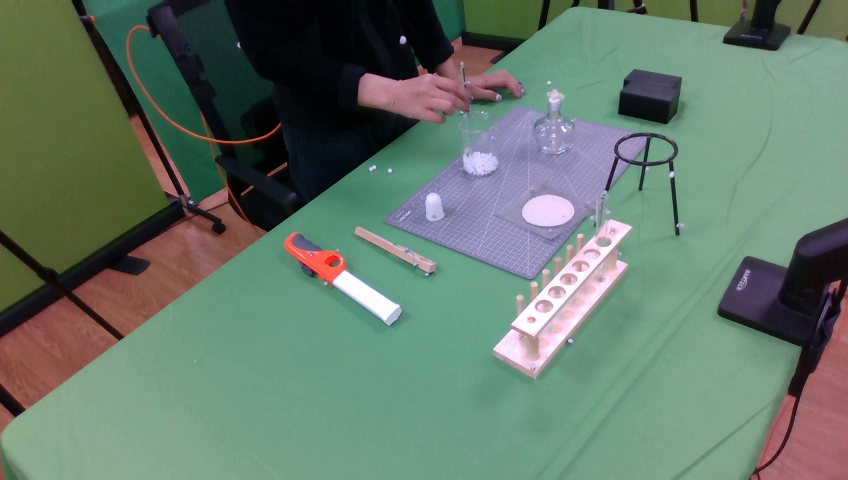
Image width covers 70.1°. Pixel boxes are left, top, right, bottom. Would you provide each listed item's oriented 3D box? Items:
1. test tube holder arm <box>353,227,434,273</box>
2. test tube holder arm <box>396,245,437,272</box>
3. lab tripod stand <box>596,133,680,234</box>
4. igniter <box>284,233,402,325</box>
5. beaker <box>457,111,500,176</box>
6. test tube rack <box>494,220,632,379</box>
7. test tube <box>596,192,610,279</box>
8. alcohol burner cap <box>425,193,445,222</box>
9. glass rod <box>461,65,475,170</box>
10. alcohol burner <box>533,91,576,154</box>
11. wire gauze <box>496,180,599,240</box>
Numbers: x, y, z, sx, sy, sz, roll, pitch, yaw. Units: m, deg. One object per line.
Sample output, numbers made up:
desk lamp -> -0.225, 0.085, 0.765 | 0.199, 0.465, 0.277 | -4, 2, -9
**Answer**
test tube holder arm -> -0.053, 0.014, 0.978 | 0.177, 0.015, 0.013 | 25, 16, 34
test tube holder arm -> -0.016, 0.029, 0.957 | 0.087, 0.015, 0.010 | 25, 16, 35
lab tripod stand -> 0.338, -0.091, 0.940 | 0.148, 0.132, 0.147 | -7, 39, 6
igniter -> -0.136, 0.054, 0.942 | 0.274, 0.025, 0.057 | 30, 63, 37
beaker -> 0.104, -0.176, 1.108 | 0.073, 0.101, 0.084 | 16, 45, 27
test tube rack -> 0.191, 0.068, 0.818 | 0.066, 0.085, 0.243 | 25, 51, 35
test tube -> 0.240, -0.002, 0.814 | 0.017, 0.151, 0.017 | -7, 42, 7
alcohol burner cap -> 0.017, -0.058, 1.030 | 0.034, 0.048, 0.033 | -6, 40, 5
glass rod -> 0.079, -0.212, 1.070 | 0.008, 0.200, 0.008 | -6, 35, 5
alcohol burner -> 0.243, -0.222, 1.124 | 0.078, 0.119, 0.077 | -4, 39, 4
wire gauze -> 0.206, -0.050, 1.012 | 0.125, 0.011, 0.120 | -34, 45, -26
